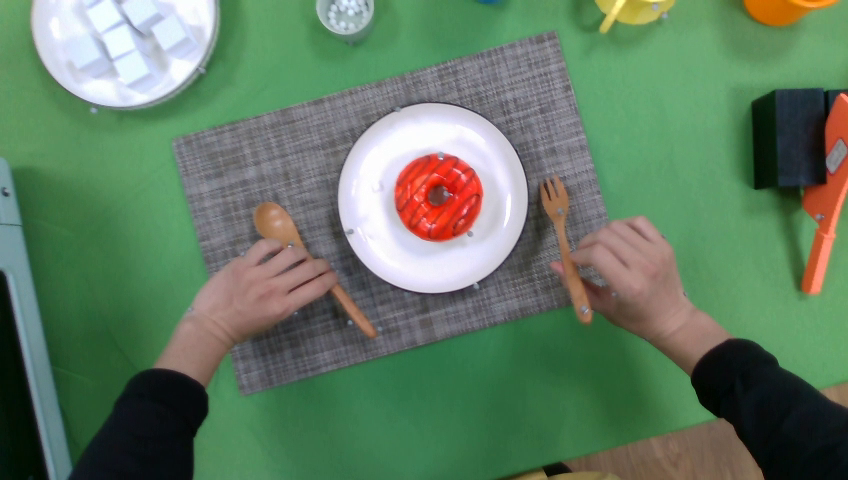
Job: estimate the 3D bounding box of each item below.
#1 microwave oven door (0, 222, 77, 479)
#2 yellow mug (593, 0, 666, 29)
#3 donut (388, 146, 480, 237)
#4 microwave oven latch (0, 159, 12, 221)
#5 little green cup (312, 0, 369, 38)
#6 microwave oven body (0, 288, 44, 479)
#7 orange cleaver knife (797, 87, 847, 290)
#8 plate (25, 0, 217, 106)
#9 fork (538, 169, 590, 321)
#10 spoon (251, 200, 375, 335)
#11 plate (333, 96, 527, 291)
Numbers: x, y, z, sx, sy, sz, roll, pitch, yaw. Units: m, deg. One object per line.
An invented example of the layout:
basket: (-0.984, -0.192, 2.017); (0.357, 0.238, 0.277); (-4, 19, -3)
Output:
microwave oven door: (-0.431, 0.154, 0.555); (0.039, 0.244, 0.355); (-13, 89, 1)
yellow mug: (0.220, -0.283, 0.645); (0.100, 0.064, 0.131); (32, 92, 2)
donut: (0.011, -0.051, 0.650); (0.099, 0.048, 0.099); (0, 91, 3)
microwave oven latch: (-0.475, -0.059, 0.658); (0.030, 0.029, 0.079); (-10, 90, 1)
little green cup: (-0.089, -0.255, 0.667); (0.061, 0.038, 0.061); (0, 89, 2)
microwave oven body: (-0.582, 0.145, 0.564); (0.326, 0.260, 0.441); (-13, 90, 1)
orange cleaver knife: (0.416, -0.049, 0.633); (0.012, 0.076, 0.213); (-1, 119, 4)
plate: (-0.329, -0.250, 0.673); (0.207, 0.039, 0.207); (0, 90, 2)
fork: (0.138, -0.002, 0.602); (0.028, 0.205, 0.019); (-25, 127, 21)
spoon: (-0.120, 0.030, 0.659); (0.193, 0.041, 0.022); (45, 135, 9)
plate: (0.007, -0.050, 0.661); (0.209, 0.038, 0.209); (0, 90, 2)
